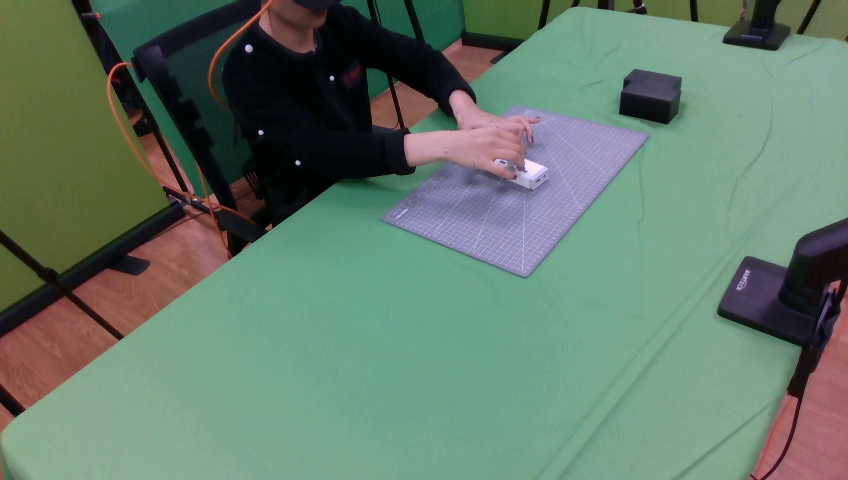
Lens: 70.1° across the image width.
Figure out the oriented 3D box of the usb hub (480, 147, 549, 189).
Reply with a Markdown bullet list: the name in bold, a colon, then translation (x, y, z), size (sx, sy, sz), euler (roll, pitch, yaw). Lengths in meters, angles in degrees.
- **usb hub**: translation (0.164, -0.132, 1.100), size (0.050, 0.025, 0.124), euler (-36, 48, -28)

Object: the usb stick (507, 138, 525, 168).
- **usb stick**: translation (0.163, -0.149, 1.074), size (0.027, 0.059, 0.021), euler (-35, 45, -31)
